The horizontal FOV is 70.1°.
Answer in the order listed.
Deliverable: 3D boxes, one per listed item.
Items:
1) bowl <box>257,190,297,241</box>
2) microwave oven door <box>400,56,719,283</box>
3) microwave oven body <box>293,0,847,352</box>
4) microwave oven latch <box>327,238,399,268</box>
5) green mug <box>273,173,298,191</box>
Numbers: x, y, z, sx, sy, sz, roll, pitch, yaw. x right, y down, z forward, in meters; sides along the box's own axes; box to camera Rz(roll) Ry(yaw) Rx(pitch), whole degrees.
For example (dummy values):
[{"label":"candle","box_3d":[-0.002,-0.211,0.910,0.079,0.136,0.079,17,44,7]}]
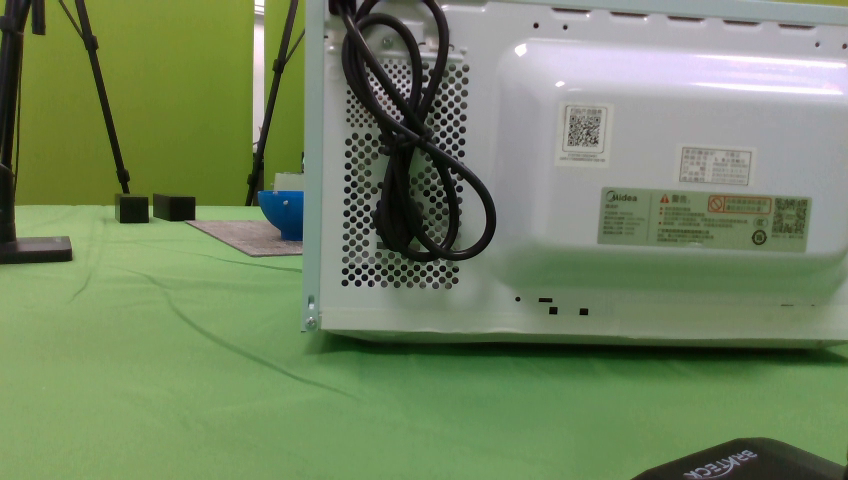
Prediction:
[{"label":"bowl","box_3d":[-0.206,-0.041,1.027,0.151,0.077,0.151,3,8,0]},{"label":"microwave oven door","box_3d":[0.155,-0.078,0.698,0.356,0.243,0.039,2,8,-5]},{"label":"microwave oven body","box_3d":[0.122,-0.055,0.550,0.442,0.260,0.325,3,7,-5]},{"label":"microwave oven latch","box_3d":[-0.069,0.015,0.694,0.079,0.029,0.030,3,7,-3]},{"label":"green mug","box_3d":[-0.264,-0.084,1.236,0.093,0.105,0.125,0,8,-13]}]
